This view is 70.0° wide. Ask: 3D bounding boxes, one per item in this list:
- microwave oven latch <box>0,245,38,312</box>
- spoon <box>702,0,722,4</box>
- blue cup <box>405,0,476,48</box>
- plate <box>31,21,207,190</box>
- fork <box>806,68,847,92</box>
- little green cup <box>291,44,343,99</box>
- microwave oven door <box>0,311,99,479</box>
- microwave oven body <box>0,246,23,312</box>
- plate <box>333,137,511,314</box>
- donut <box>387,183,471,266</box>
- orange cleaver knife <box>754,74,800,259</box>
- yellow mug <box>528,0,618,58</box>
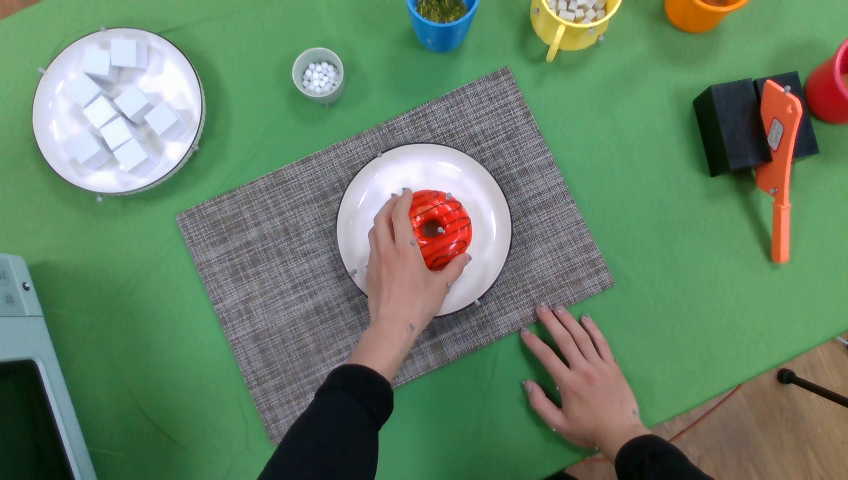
[{"bbox_3d":[-0.478,0.047,0.701,0.030,0.029,0.079,-20,85,-2],"label":"microwave oven latch"},{"bbox_3d":[0.302,-0.289,0.689,0.021,0.194,0.041,-33,81,42],"label":"spoon"},{"bbox_3d":[0.018,-0.275,0.714,0.092,0.100,0.092,0,85,0],"label":"blue cup"},{"bbox_3d":[-0.365,-0.161,0.739,0.208,0.039,0.207,0,84,1],"label":"plate"},{"bbox_3d":[0.549,-0.193,0.678,0.206,0.019,0.028,-1,80,43],"label":"fork"},{"bbox_3d":[-0.128,-0.203,0.740,0.061,0.039,0.061,0,84,1],"label":"little green cup"},{"bbox_3d":[-0.401,0.239,0.580,0.039,0.244,0.355,-22,84,-2],"label":"microwave oven door"},{"bbox_3d":[-0.552,0.254,0.586,0.326,0.260,0.440,-22,85,-2],"label":"microwave oven body"},{"bbox_3d":[-0.002,-0.017,0.717,0.209,0.038,0.208,0,85,1],"label":"plate"},{"bbox_3d":[0.005,-0.018,0.706,0.099,0.048,0.099,0,86,-1],"label":"donut"},{"bbox_3d":[0.403,-0.081,0.701,0.012,0.076,0.213,-10,114,2],"label":"orange cleaver knife"},{"bbox_3d":[0.173,-0.280,0.730,0.100,0.064,0.130,23,86,3],"label":"yellow mug"}]
